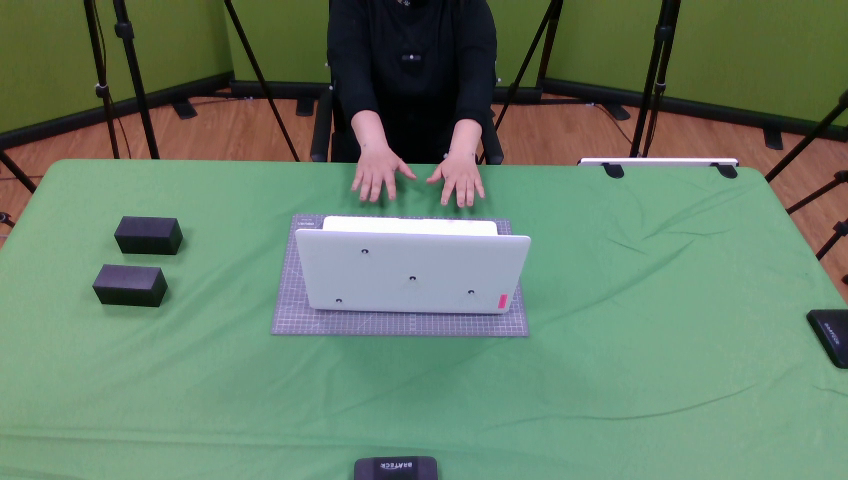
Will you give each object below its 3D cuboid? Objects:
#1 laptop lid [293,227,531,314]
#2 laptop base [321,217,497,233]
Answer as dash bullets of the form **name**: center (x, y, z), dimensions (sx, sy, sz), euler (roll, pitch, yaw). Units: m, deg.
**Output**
- **laptop lid**: center (-0.021, 0.057, 0.976), dimensions (0.357, 0.243, 0.013), euler (2, 53, -4)
- **laptop base**: center (-0.028, 0.044, 1.154), dimensions (0.354, 0.023, 0.234), euler (2, 42, -3)
